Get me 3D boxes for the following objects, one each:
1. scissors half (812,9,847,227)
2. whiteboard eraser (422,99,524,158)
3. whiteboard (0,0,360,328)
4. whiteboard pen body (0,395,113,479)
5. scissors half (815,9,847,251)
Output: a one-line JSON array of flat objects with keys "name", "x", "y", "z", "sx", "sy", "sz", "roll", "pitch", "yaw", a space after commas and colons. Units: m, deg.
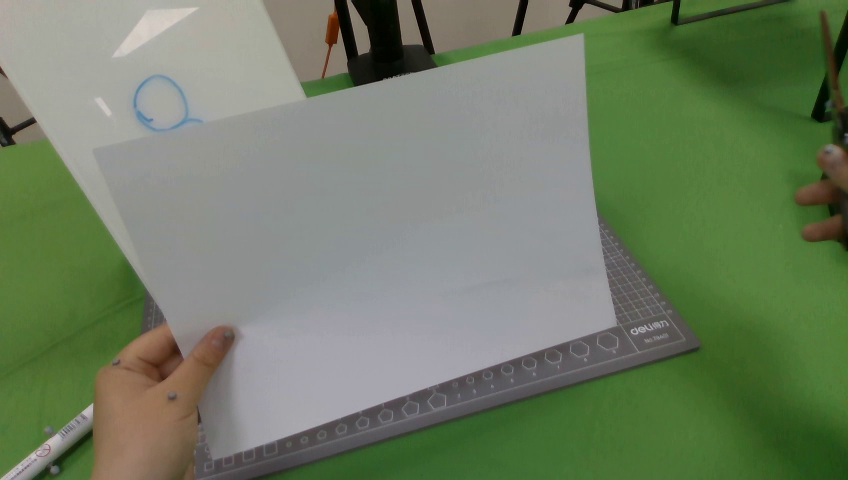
[{"name": "scissors half", "x": 0.267, "y": -0.083, "z": 0.390, "sx": 0.012, "sy": 0.040, "sz": 0.174, "roll": -8, "pitch": 61, "yaw": 26}, {"name": "whiteboard eraser", "x": 0.057, "y": -0.129, "z": 0.713, "sx": 0.113, "sy": 0.042, "sz": 0.055, "roll": -16, "pitch": 44, "yaw": -10}, {"name": "whiteboard", "x": -0.237, "y": -0.114, "z": 0.587, "sx": 0.217, "sy": 0.308, "sz": 0.142, "roll": -35, "pitch": 28, "yaw": -26}, {"name": "whiteboard pen body", "x": -0.295, "y": 0.168, "z": 0.447, "sx": 0.017, "sy": 0.017, "sz": 0.140, "roll": 22, "pitch": 48, "yaw": 29}, {"name": "scissors half", "x": 0.275, "y": -0.077, "z": 0.407, "sx": 0.013, "sy": 0.040, "sz": 0.174, "roll": -5, "pitch": 78, "yaw": 21}]
